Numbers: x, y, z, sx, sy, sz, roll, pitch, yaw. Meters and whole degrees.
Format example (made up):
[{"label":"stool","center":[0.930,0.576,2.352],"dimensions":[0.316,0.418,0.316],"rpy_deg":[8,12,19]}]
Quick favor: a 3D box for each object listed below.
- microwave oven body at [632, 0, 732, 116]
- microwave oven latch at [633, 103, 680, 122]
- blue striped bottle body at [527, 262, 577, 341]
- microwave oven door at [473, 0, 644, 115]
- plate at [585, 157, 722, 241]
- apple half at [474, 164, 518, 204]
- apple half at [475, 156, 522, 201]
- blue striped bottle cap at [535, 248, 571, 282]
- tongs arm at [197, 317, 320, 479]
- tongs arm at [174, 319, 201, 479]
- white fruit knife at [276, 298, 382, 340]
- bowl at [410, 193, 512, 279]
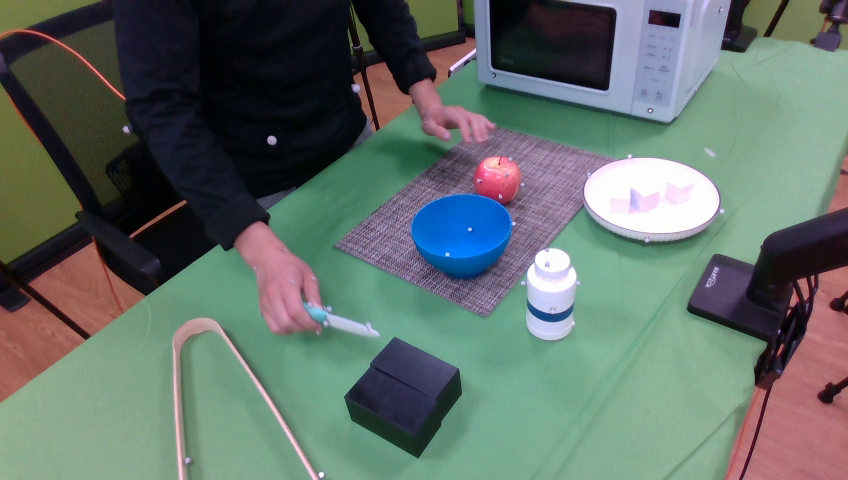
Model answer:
[{"label":"microwave oven body","center":[0.377,-0.463,1.267],"dimensions":[0.438,0.261,0.327],"rpy_deg":[21,49,30]},{"label":"microwave oven latch","center":[0.444,-0.249,1.157],"dimensions":[0.078,0.029,0.030],"rpy_deg":[21,49,30]},{"label":"blue striped bottle body","center":[0.165,0.070,0.786],"dimensions":[0.063,0.121,0.063],"rpy_deg":[-4,41,4]},{"label":"microwave oven door","center":[0.257,-0.396,1.199],"dimensions":[0.353,0.245,0.039],"rpy_deg":[21,48,29]},{"label":"plate","center":[0.367,-0.063,0.979],"dimensions":[0.207,0.039,0.206],"rpy_deg":[-4,40,4]},{"label":"apple half","center":[0.115,-0.084,1.005],"dimensions":[0.081,0.081,0.033],"rpy_deg":[11,41,20]},{"label":"apple half","center":[0.131,-0.108,1.032],"dimensions":[0.080,0.075,0.053],"rpy_deg":[8,40,23]},{"label":"blue striped bottle cap","center":[0.161,0.031,0.753],"dimensions":[0.044,0.021,0.044],"rpy_deg":[-4,42,4]},{"label":"tongs arm","center":[-0.199,0.207,0.750],"dimensions":[0.028,0.028,0.384],"rpy_deg":[-31,45,-22]},{"label":"tongs arm","center":[-0.272,0.234,0.723],"dimensions":[0.051,0.026,0.381],"rpy_deg":[-18,40,-15]},{"label":"white fruit knife","center":[-0.123,0.098,0.753],"dimensions":[0.205,0.027,0.016],"rpy_deg":[8,43,41]},{"label":"bowl","center":[0.058,0.005,0.905],"dimensions":[0.151,0.077,0.150],"rpy_deg":[-4,40,4]}]
